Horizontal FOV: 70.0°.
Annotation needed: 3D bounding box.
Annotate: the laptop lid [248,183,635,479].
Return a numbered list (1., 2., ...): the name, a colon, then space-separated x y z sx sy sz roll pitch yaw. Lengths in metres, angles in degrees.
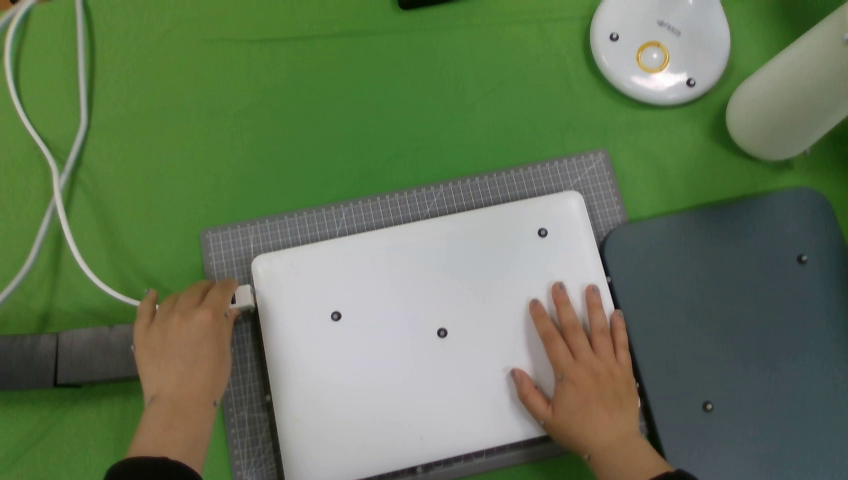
1. laptop lid: 0.016 0.085 0.606 0.357 0.013 0.240 -10 81 -4

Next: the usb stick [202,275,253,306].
1. usb stick: -0.189 0.049 0.606 0.059 0.027 0.021 -10 79 -11

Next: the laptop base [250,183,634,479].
1. laptop base: 0.015 0.084 0.617 0.355 0.023 0.234 -12 82 -4

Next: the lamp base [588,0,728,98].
1. lamp base: 0.272 -0.266 0.620 0.160 0.181 0.178 21 75 3

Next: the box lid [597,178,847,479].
1. box lid: 0.345 0.125 0.621 0.263 0.015 0.369 -12 78 -5

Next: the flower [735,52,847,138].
1. flower: 0.397 -0.183 0.512 0.038 0.363 0.043 1 67 -18

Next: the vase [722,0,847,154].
1. vase: 0.376 -0.160 0.589 0.098 0.201 0.097 0 76 0
